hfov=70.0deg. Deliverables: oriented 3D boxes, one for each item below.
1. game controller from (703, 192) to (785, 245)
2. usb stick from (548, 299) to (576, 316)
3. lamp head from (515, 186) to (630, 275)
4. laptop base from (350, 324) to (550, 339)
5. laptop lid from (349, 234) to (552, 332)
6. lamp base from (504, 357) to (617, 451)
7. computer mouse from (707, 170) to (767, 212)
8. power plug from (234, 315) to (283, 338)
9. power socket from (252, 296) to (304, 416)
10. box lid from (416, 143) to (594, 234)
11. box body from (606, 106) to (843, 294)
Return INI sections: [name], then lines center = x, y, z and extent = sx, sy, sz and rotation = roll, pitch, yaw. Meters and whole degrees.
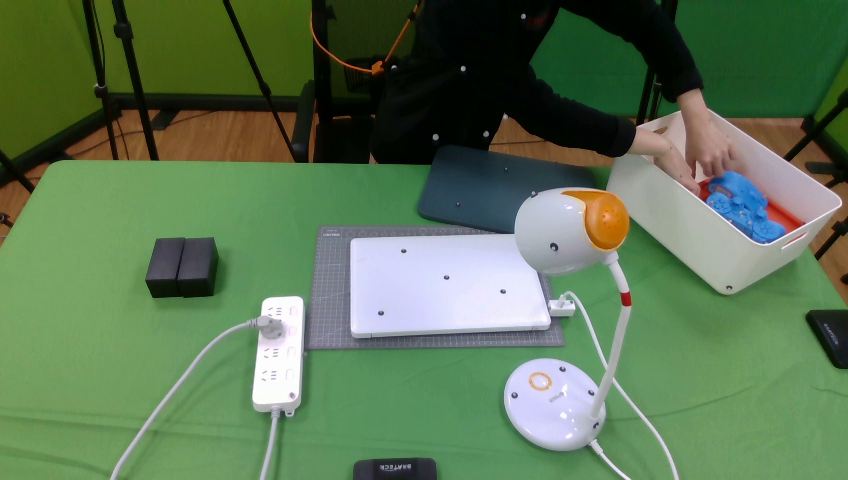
[game controller]
center = 0.611, -0.044, 1.167
extent = 0.154, 0.052, 0.097
rotation = 36, 57, 26
[usb stick]
center = 0.239, 0.121, 1.084
extent = 0.059, 0.027, 0.021
rotation = -1, 52, -1
[lamp head]
center = 0.188, -0.013, 0.728
extent = 0.112, 0.112, 0.122
rotation = -25, 9, -25
[laptop base]
center = 0.039, 0.081, 1.125
extent = 0.355, 0.023, 0.234
rotation = -2, 43, -6
[laptop lid]
center = 0.040, 0.071, 1.118
extent = 0.357, 0.013, 0.240
rotation = 0, 44, -5
[lamp base]
center = 0.220, 0.211, 0.903
extent = 0.160, 0.181, 0.178
rotation = -33, 59, -30
[computer mouse]
center = 0.636, -0.099, 1.228
extent = 0.063, 0.041, 0.116
rotation = -28, 60, -30
[power plug]
center = -0.269, 0.143, 1.000
extent = 0.072, 0.053, 0.035
rotation = 4, 47, 2
[power socket]
center = -0.238, 0.181, 0.997
extent = 0.072, 0.033, 0.225
rotation = -3, 47, -5
[box lid]
center = 0.186, -0.105, 1.321
extent = 0.371, 0.015, 0.262
rotation = 11, 46, 7
[box body]
center = 0.582, -0.088, 1.230
extent = 0.254, 0.161, 0.361
rotation = -22, 52, -23
